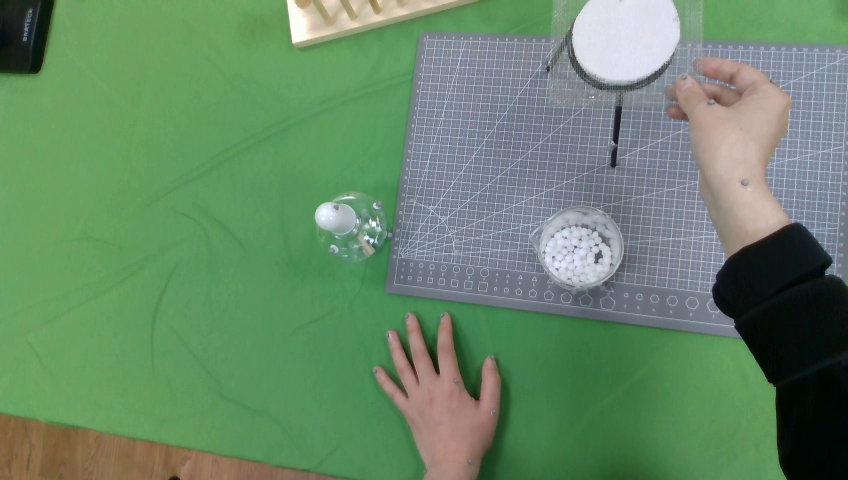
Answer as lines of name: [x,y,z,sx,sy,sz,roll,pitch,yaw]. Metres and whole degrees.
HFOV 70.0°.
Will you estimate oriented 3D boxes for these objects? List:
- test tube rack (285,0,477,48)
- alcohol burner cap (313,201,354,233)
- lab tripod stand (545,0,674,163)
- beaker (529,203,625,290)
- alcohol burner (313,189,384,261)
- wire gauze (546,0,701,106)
test tube rack: [-0.052,-0.290,0.669,0.242,0.085,0.066,-11,80,10]
alcohol burner cap: [-0.091,-0.024,0.593,0.034,0.048,0.034,-1,86,12]
lab tripod stand: [0.181,-0.160,0.576,0.148,0.132,0.148,-1,84,10]
beaker: [0.144,0.010,0.581,0.083,0.101,0.074,13,85,14]
alcohol burner: [-0.083,-0.019,0.628,0.078,0.120,0.077,-2,81,11]
wire gauze: [0.166,-0.172,0.506,0.124,0.011,0.121,3,87,21]
